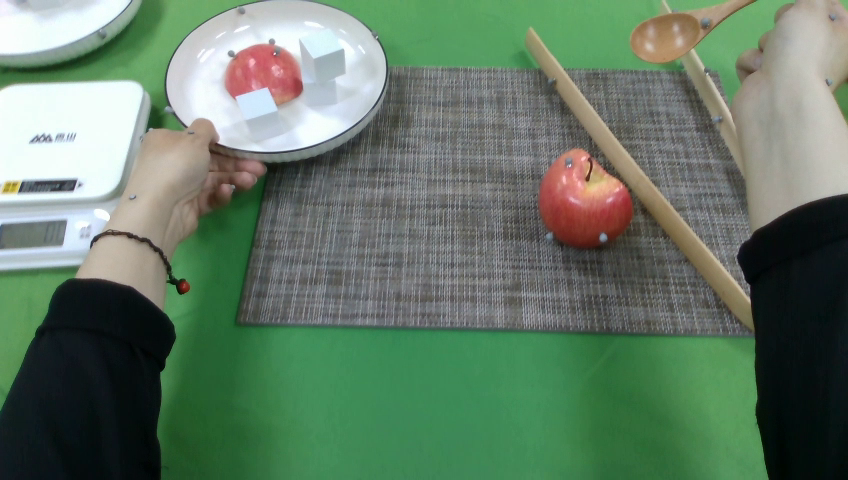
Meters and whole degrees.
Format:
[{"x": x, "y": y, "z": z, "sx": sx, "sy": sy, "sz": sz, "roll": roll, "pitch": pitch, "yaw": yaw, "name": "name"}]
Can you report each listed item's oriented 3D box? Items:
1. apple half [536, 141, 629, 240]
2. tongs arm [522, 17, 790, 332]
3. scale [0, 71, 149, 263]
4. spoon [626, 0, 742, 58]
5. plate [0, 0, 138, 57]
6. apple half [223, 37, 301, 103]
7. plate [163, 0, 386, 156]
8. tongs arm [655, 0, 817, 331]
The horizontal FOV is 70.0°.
[{"x": 0.122, "y": -0.034, "z": 0.503, "sx": 0.053, "sy": 0.075, "sz": 0.080, "roll": -33, "pitch": 67, "yaw": -14, "name": "apple half"}, {"x": 0.189, "y": -0.079, "z": 0.557, "sx": 0.028, "sy": 0.028, "sz": 0.383, "roll": -19, "pitch": 61, "yaw": -16, "name": "tongs arm"}, {"x": -0.339, "y": -0.072, "z": 0.551, "sx": 0.149, "sy": 0.032, "sz": 0.199, "roll": -3, "pitch": 59, "yaw": -2, "name": "scale"}, {"x": 0.249, "y": -0.187, "z": 0.453, "sx": 0.193, "sy": 0.022, "sz": 0.041, "roll": -21, "pitch": 72, "yaw": 20, "name": "spoon"}, {"x": -0.413, "y": -0.271, "z": 0.668, "sx": 0.208, "sy": 0.039, "sz": 0.205, "roll": 0, "pitch": 59, "yaw": 0, "name": "plate"}, {"x": -0.158, "y": -0.171, "z": 0.587, "sx": 0.081, "sy": 0.033, "sz": 0.080, "roll": 0, "pitch": 57, "yaw": 0, "name": "apple half"}, {"x": -0.139, "y": -0.159, "z": 0.586, "sx": 0.209, "sy": 0.038, "sz": 0.207, "roll": 1, "pitch": 59, "yaw": -2, "name": "plate"}, {"x": 0.269, "y": -0.099, "z": 0.567, "sx": 0.051, "sy": 0.027, "sz": 0.381, "roll": -8, "pitch": 60, "yaw": -6, "name": "tongs arm"}]
